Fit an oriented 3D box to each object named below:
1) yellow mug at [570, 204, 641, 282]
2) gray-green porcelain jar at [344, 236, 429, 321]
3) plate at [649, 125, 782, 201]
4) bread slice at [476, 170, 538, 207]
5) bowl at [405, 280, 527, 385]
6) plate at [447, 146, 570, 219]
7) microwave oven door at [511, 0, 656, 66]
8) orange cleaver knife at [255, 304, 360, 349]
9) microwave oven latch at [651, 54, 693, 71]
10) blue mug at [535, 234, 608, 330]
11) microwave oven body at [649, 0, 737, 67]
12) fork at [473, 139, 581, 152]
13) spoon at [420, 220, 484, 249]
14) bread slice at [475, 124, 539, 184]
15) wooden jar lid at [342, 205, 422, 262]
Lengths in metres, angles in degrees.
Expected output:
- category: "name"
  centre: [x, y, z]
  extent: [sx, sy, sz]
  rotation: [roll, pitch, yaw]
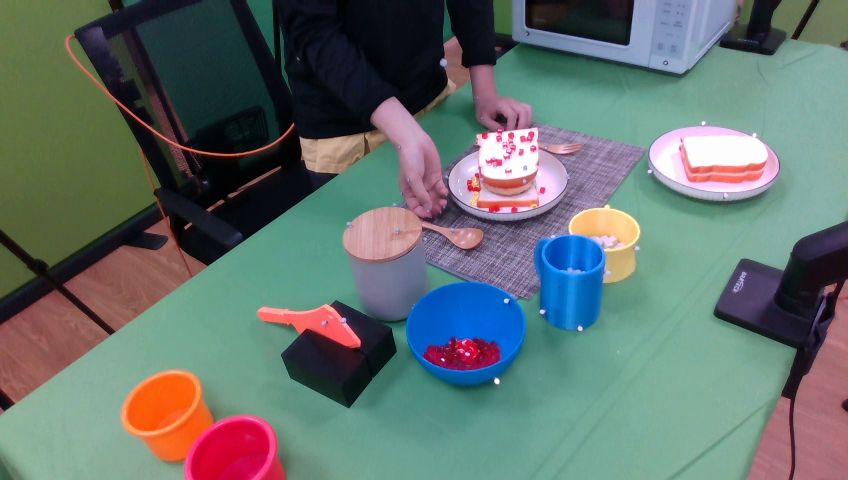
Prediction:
- category: "yellow mug"
  centre: [0.268, -0.005, 0.904]
  extent: [0.099, 0.064, 0.130]
  rotation: [7, 41, 15]
- category: "gray-green porcelain jar"
  centre: [-0.049, 0.042, 0.849]
  extent: [0.106, 0.127, 0.105]
  rotation: [-4, 41, 4]
- category: "plate"
  centre: [0.493, -0.128, 1.036]
  extent: [0.207, 0.039, 0.206]
  rotation: [-4, 41, 4]
- category: "bread slice"
  centre: [0.143, -0.104, 1.058]
  extent: [0.105, 0.019, 0.131]
  rotation: [0, 43, 6]
- category: "bowl"
  centre: [0.055, 0.131, 0.767]
  extent: [0.151, 0.077, 0.150]
  rotation: [-4, 40, 4]
- category: "plate"
  centre: [0.145, -0.098, 1.046]
  extent: [0.209, 0.038, 0.208]
  rotation: [-4, 40, 4]
- category: "microwave oven door"
  centre: [0.351, -0.539, 1.349]
  extent: [0.353, 0.245, 0.039]
  rotation: [24, 50, 31]
- category: "orange cleaver knife"
  centre: [-0.161, 0.115, 0.813]
  extent: [0.210, 0.077, 0.012]
  rotation: [-4, 32, 47]
- category: "microwave oven latch"
  centre: [0.531, -0.386, 1.301]
  extent: [0.078, 0.029, 0.030]
  rotation: [26, 51, 33]
- category: "blue mug"
  centre: [0.191, 0.048, 0.824]
  extent: [0.082, 0.106, 0.115]
  rotation: [-26, 44, -21]
- category: "microwave oven body"
  centre: [0.475, -0.602, 1.411]
  extent: [0.438, 0.261, 0.327]
  rotation: [23, 50, 32]
- category: "fork"
  centre: [0.194, -0.184, 1.153]
  extent: [0.206, 0.019, 0.028]
  rotation: [7, 49, 14]
- category: "spoon"
  centre: [0.010, -0.022, 0.989]
  extent: [0.192, 0.022, 0.041]
  rotation: [17, 67, 25]
- category: "bread slice"
  centre: [0.143, -0.144, 1.009]
  extent: [0.107, 0.018, 0.133]
  rotation: [-7, 46, 7]
- category: "wooden jar lid"
  centre: [-0.055, -0.006, 0.808]
  extent: [0.108, 0.021, 0.108]
  rotation: [-6, 40, 6]
